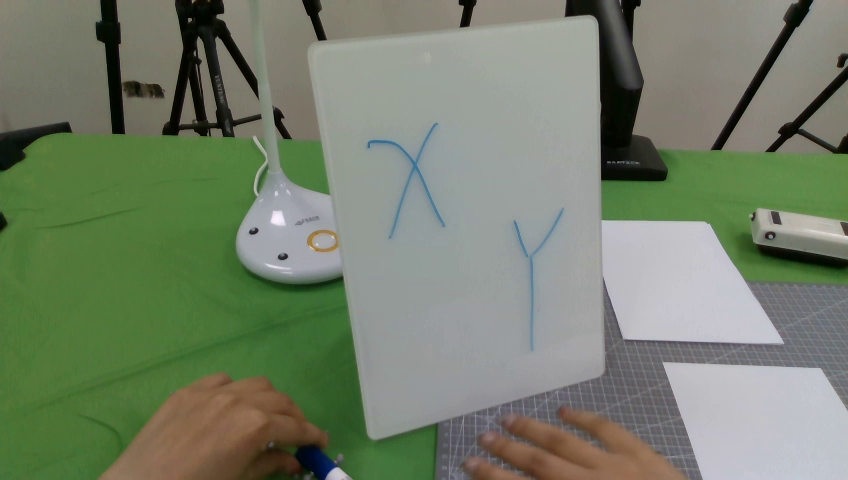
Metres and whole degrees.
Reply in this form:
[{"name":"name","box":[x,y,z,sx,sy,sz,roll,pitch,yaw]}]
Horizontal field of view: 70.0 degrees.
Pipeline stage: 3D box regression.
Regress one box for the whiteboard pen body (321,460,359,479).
[{"name":"whiteboard pen body","box":[-0.033,0.186,0.417,0.139,0.017,0.017,30,45,26]}]

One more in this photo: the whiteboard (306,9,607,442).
[{"name":"whiteboard","box":[0.023,-0.023,0.523,0.218,0.307,0.142,-11,18,-15]}]

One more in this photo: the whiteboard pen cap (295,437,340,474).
[{"name":"whiteboard pen cap","box":[-0.078,0.159,0.444,0.033,0.018,0.018,20,39,36]}]

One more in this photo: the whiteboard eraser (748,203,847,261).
[{"name":"whiteboard eraser","box":[0.432,-0.008,0.688,0.112,0.042,0.055,12,38,15]}]

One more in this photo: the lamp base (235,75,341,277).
[{"name":"lamp base","box":[-0.142,-0.077,0.655,0.177,0.182,0.161,28,44,36]}]
